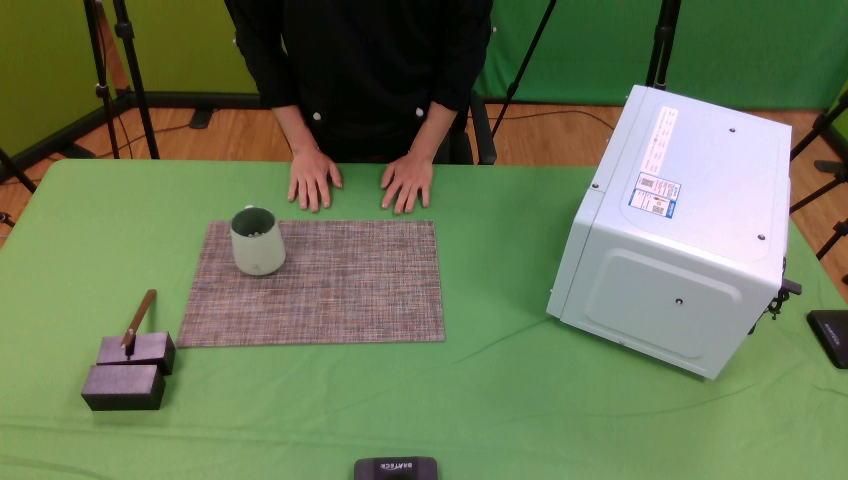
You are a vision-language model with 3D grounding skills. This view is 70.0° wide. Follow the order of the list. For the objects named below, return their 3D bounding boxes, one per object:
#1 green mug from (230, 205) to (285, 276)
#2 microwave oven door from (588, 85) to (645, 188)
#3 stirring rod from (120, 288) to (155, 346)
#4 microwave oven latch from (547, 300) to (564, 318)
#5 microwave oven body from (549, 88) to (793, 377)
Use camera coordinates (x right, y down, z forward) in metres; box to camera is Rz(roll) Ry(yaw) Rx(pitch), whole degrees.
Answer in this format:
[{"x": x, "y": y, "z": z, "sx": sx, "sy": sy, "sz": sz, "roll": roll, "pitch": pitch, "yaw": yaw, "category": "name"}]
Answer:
[{"x": -0.311, "y": -0.008, "z": 1.118, "sx": 0.092, "sy": 0.105, "sz": 0.124, "roll": -14, "pitch": 49, "yaw": -16, "category": "green mug"}, {"x": 0.342, "y": -0.107, "z": 1.149, "sx": 0.039, "sy": 0.245, "sz": 0.354, "roll": 20, "pitch": 48, "yaw": 15, "category": "microwave oven door"}, {"x": -0.474, "y": 0.125, "z": 1.008, "sx": 0.014, "sy": 0.006, "sz": 0.175, "roll": -5, "pitch": 26, "yaw": -8, "category": "stirring rod"}, {"x": 0.242, "y": 0.102, "z": 1.081, "sx": 0.030, "sy": 0.029, "sz": 0.079, "roll": 21, "pitch": 48, "yaw": 17, "category": "microwave oven latch"}, {"x": 0.456, "y": -0.028, "z": 1.088, "sx": 0.325, "sy": 0.261, "sz": 0.440, "roll": 20, "pitch": 47, "yaw": 16, "category": "microwave oven body"}]
